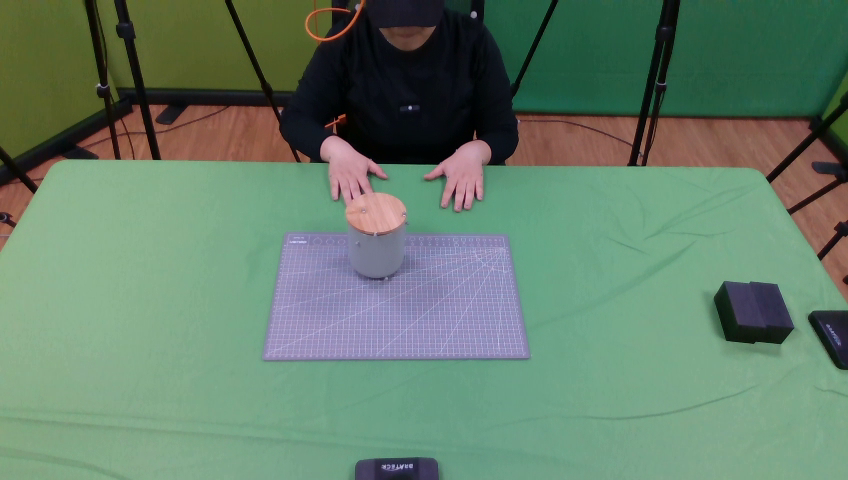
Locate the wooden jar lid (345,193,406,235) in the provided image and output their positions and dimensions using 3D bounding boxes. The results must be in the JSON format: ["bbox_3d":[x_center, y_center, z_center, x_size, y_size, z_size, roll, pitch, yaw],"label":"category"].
[{"bbox_3d":[-0.086,-0.043,1.072,0.108,0.021,0.107,4,44,-3],"label":"wooden jar lid"}]

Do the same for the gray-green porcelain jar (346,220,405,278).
[{"bbox_3d":[-0.089,0.000,1.116,0.106,0.127,0.105,2,46,-2],"label":"gray-green porcelain jar"}]
